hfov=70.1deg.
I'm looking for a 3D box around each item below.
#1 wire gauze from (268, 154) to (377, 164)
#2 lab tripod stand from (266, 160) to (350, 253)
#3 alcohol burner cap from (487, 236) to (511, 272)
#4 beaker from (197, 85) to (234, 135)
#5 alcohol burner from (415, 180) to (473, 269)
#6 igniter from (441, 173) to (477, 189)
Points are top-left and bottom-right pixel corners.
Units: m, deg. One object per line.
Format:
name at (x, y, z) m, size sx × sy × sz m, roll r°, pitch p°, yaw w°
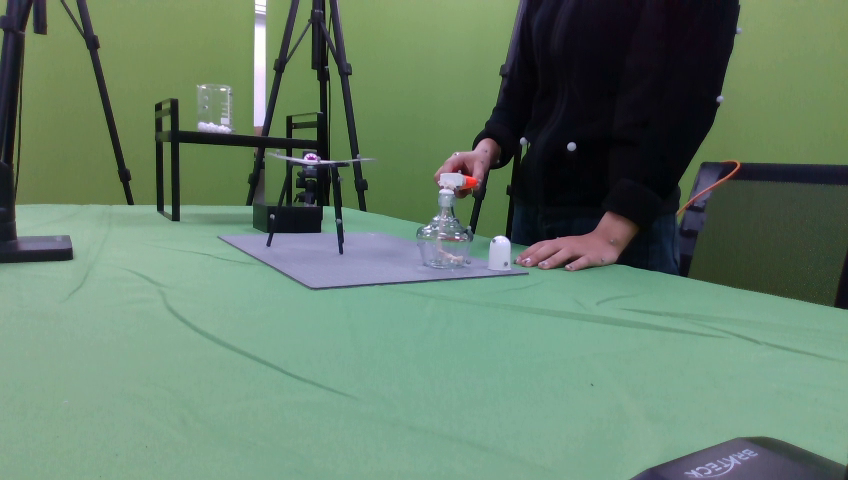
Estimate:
wire gauze at (-0.154, -0.120, 0.910) m, size 0.122 × 0.011 × 0.124 m, roll -5°, pitch 11°, yaw -44°
lab tripod stand at (-0.163, -0.054, 0.915) m, size 0.148 × 0.131 × 0.148 m, roll 2°, pitch 9°, yaw 0°
alcohol burner cap at (0.101, 0.019, 0.802) m, size 0.034 × 0.048 × 0.034 m, roll 3°, pitch 7°, yaw 0°
beaker at (-0.444, -0.275, 1.283) m, size 0.074 × 0.100 × 0.084 m, roll 5°, pitch 8°, yaw 22°
alcohol burner at (0.028, -0.021, 0.807) m, size 0.078 × 0.119 × 0.078 m, roll 3°, pitch 5°, yaw 0°
igniter at (0.055, -0.093, 0.961) m, size 0.057 × 0.025 × 0.277 m, roll 1°, pitch 5°, yaw 7°
